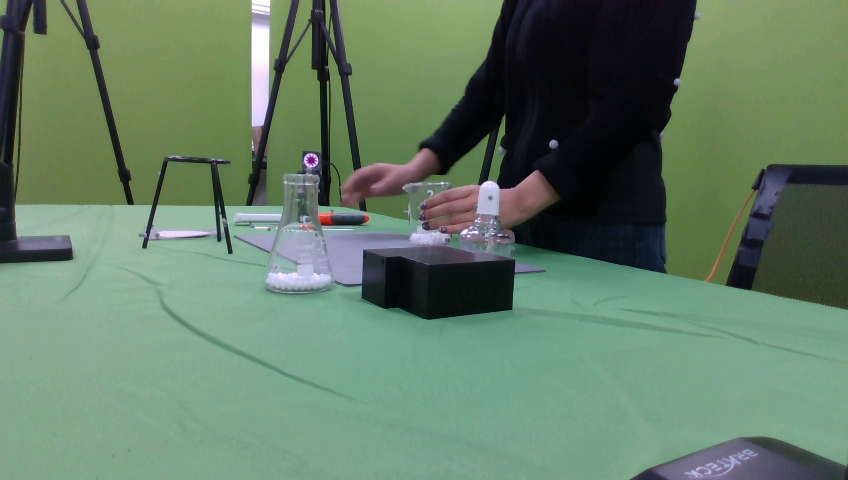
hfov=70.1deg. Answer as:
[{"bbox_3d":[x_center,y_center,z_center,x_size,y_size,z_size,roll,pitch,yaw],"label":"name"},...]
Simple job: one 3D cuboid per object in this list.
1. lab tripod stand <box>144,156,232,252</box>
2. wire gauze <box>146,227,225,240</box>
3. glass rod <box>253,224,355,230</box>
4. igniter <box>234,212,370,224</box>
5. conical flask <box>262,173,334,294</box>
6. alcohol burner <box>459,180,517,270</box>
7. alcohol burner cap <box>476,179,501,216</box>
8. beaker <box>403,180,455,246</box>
[{"bbox_3d":[-0.325,-0.054,0.881,0.148,0.131,0.148,4,7,0],"label":"lab tripod stand"},{"bbox_3d":[-0.400,-0.012,1.019,0.122,0.011,0.124,-1,6,-26],"label":"wire gauze"},{"bbox_3d":[-0.226,-0.024,1.162,0.201,0.008,0.008,1,7,-28],"label":"glass rod"},{"bbox_3d":[-0.247,-0.046,1.253,0.278,0.025,0.057,-1,-3,-27],"label":"igniter"},{"bbox_3d":[-0.131,-0.009,0.633,0.075,0.122,0.075,2,8,0],"label":"conical flask"},{"bbox_3d":[0.086,-0.021,0.805,0.078,0.119,0.078,3,9,0],"label":"alcohol burner"},{"bbox_3d":[0.086,-0.057,0.801,0.034,0.048,0.034,4,2,0],"label":"alcohol burner cap"},{"bbox_3d":[0.008,-0.043,0.958,0.084,0.100,0.074,0,7,8],"label":"beaker"}]
